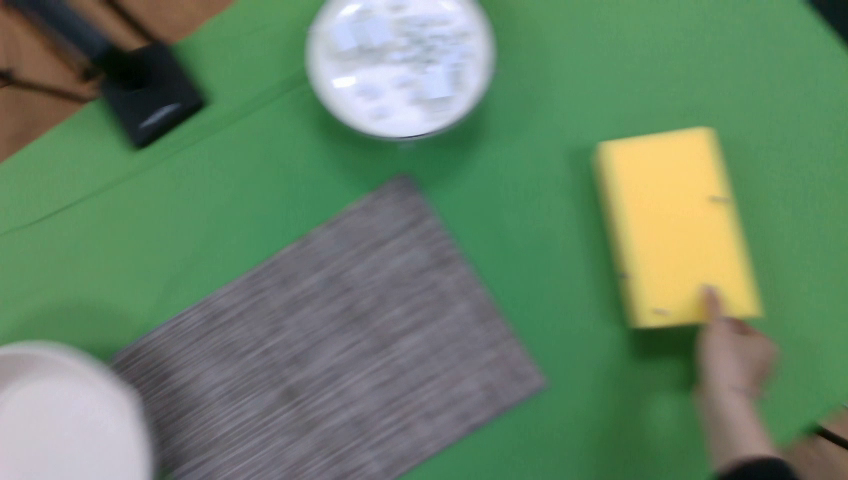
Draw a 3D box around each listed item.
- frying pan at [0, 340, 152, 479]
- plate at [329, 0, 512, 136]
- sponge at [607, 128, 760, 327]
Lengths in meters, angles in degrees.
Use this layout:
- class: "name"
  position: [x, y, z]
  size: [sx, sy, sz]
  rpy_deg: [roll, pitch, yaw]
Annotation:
- class: "frying pan"
  position: [-0.396, 0.346, 0.676]
  size: [0.307, 0.103, 0.484]
  rpy_deg: [-33, 72, 2]
- class: "plate"
  position: [-0.004, -0.216, 0.700]
  size: [0.207, 0.039, 0.207]
  rpy_deg: [-1, 81, 5]
- class: "sponge"
  position: [0.282, -0.011, 0.674]
  size: [0.118, 0.061, 0.206]
  rpy_deg: [-8, 81, 6]
